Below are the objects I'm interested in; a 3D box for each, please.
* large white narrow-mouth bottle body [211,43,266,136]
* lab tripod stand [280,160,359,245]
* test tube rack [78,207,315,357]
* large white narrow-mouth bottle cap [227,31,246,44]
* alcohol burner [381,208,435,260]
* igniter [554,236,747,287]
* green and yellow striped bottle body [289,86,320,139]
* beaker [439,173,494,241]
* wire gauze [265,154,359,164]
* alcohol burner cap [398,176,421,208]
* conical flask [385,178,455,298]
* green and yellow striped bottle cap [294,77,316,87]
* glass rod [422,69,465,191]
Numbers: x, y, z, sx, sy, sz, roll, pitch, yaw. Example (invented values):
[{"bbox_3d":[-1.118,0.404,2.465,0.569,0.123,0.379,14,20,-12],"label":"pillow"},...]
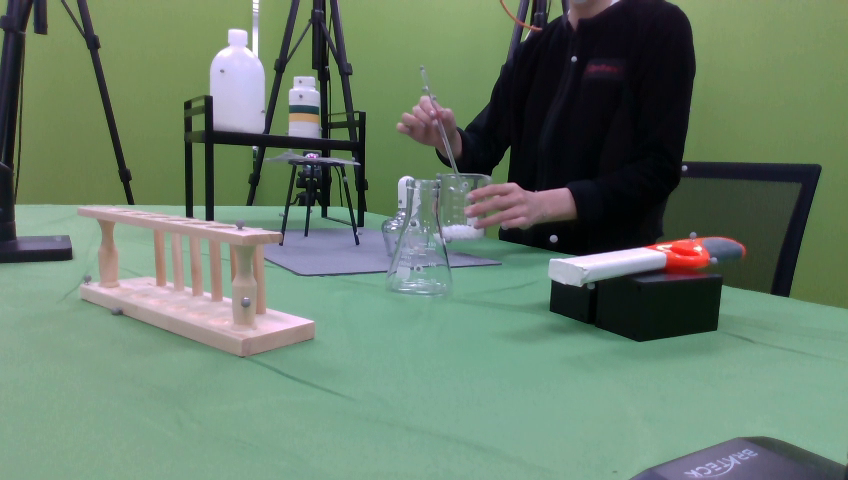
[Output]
[{"bbox_3d":[-0.361,-0.302,1.176,0.102,0.194,0.102,1,7,0],"label":"large white narrow-mouth bottle body"},{"bbox_3d":[-0.176,-0.062,0.973,0.148,0.131,0.148,1,7,0],"label":"lab tripod stand"},{"bbox_3d":[-0.196,0.023,0.500,0.241,0.085,0.067,8,8,37],"label":"test tube rack"},{"bbox_3d":[-0.361,-0.388,1.165,0.038,0.024,0.037,1,7,0],"label":"large white narrow-mouth bottle cap"},{"bbox_3d":[-0.023,-0.032,0.871,0.078,0.119,0.078,0,6,0],"label":"alcohol burner"},{"bbox_3d":[0.221,0.017,0.558,0.278,0.025,0.057,-5,15,-39],"label":"igniter"},{"bbox_3d":[-0.249,-0.272,1.259,0.063,0.119,0.063,2,8,0],"label":"green and yellow striped bottle body"},{"bbox_3d":[0.065,-0.050,0.918,0.084,0.100,0.074,1,5,15],"label":"beaker"},{"bbox_3d":[-0.181,-0.129,0.969,0.126,0.011,0.121,-1,7,-27],"label":"wire gauze"},{"bbox_3d":[-0.023,-0.068,0.866,0.034,0.048,0.034,-5,8,1],"label":"alcohol burner cap"},{"bbox_3d":[-0.002,-0.004,0.639,0.075,0.122,0.075,2,7,0],"label":"conical flask"},{"bbox_3d":[-0.247,-0.326,1.251,0.045,0.020,0.045,0,10,0],"label":"green and yellow striped bottle cap"},{"bbox_3d":[0.030,-0.170,0.933,0.008,0.199,0.008,-18,-3,-1],"label":"glass rod"}]
